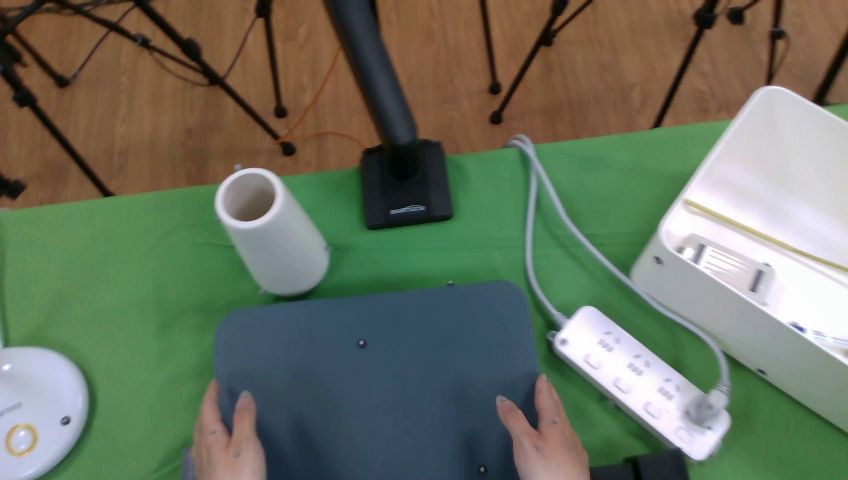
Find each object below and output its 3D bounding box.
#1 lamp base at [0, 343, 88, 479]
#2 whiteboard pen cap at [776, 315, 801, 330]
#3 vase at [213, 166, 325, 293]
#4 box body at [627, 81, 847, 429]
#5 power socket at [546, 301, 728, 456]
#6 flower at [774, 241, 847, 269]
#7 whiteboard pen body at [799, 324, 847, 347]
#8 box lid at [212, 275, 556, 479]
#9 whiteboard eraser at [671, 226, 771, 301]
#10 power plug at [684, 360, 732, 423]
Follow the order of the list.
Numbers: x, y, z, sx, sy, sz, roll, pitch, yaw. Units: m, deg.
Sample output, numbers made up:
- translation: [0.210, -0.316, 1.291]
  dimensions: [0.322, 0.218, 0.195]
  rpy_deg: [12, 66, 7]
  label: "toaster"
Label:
- translation: [-0.493, 0.164, 0.654]
  dimensions: [0.160, 0.181, 0.178]
  rpy_deg: [-37, 69, -13]
  label: "lamp base"
- translation: [0.439, 0.101, 0.734]
  dimensions: [0.033, 0.018, 0.018]
  rpy_deg: [12, 69, 8]
  label: "whiteboard pen cap"
- translation: [-0.176, -0.009, 0.706]
  dimensions: [0.098, 0.201, 0.097]
  rpy_deg: [0, 66, 1]
  label: "vase"
- translation: [0.452, 0.030, 0.692]
  dimensions: [0.362, 0.161, 0.253]
  rpy_deg: [35, 73, 14]
  label: "box body"
- translation: [0.250, 0.161, 0.716]
  dimensions: [0.225, 0.033, 0.072]
  rpy_deg: [39, 73, 16]
  label: "power socket"
- translation: [0.494, 0.021, 0.765]
  dimensions: [0.359, 0.038, 0.044]
  rpy_deg: [22, 60, 27]
  label: "flower"
- translation: [0.495, 0.116, 0.727]
  dimensions: [0.140, 0.017, 0.017]
  rpy_deg: [10, 69, 8]
  label: "whiteboard pen body"
- translation: [-0.049, 0.181, 0.676]
  dimensions: [0.372, 0.015, 0.261]
  rpy_deg: [-6, 72, -2]
  label: "box lid"
- translation: [0.363, 0.031, 0.750]
  dimensions: [0.112, 0.042, 0.055]
  rpy_deg: [26, 73, 9]
  label: "whiteboard eraser"
- translation: [0.325, 0.176, 0.683]
  dimensions: [0.072, 0.053, 0.035]
  rpy_deg: [-35, 70, -17]
  label: "power plug"
